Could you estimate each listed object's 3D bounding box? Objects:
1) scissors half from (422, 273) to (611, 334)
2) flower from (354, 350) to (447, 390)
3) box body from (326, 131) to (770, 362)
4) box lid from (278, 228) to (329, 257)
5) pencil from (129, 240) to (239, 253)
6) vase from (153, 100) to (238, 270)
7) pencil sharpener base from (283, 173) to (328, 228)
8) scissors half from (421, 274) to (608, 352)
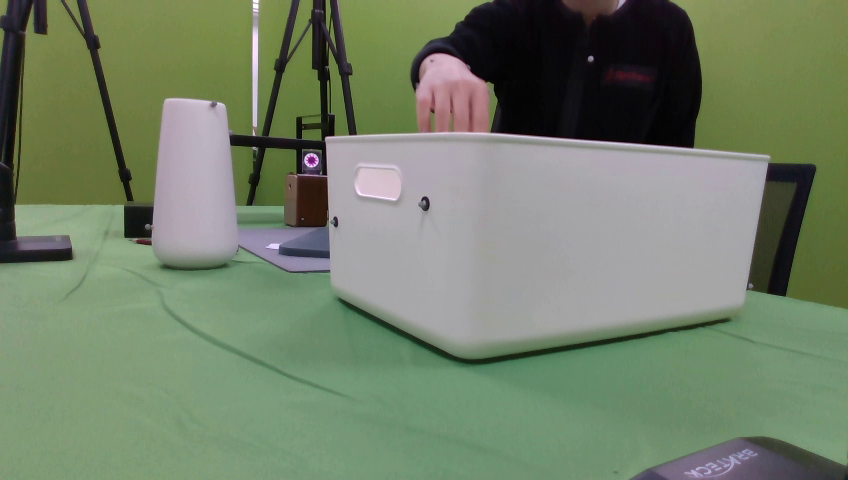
[{"bbox_3d":[0.074,0.057,0.523,0.174,0.040,0.013,14,52,27],"label":"scissors half"},{"bbox_3d":[0.104,0.075,0.586,0.363,0.044,0.038,-19,40,-14],"label":"flower"},{"bbox_3d":[0.112,-0.010,0.583,0.366,0.160,0.253,-2,9,-32],"label":"box body"},{"bbox_3d":[-0.019,0.012,0.950,0.371,0.015,0.263,4,7,4],"label":"box lid"},{"bbox_3d":[-0.350,0.008,0.874,0.193,0.012,0.012,4,7,18],"label":"pencil"},{"bbox_3d":[-0.278,-0.066,0.736,0.098,0.200,0.098,2,9,0],"label":"vase"},{"bbox_3d":[-0.239,-0.081,1.231,0.077,0.107,0.061,-2,8,-36],"label":"pencil sharpener base"},{"bbox_3d":[0.077,0.066,0.534,0.174,0.013,0.040,17,-30,25],"label":"scissors half"}]
